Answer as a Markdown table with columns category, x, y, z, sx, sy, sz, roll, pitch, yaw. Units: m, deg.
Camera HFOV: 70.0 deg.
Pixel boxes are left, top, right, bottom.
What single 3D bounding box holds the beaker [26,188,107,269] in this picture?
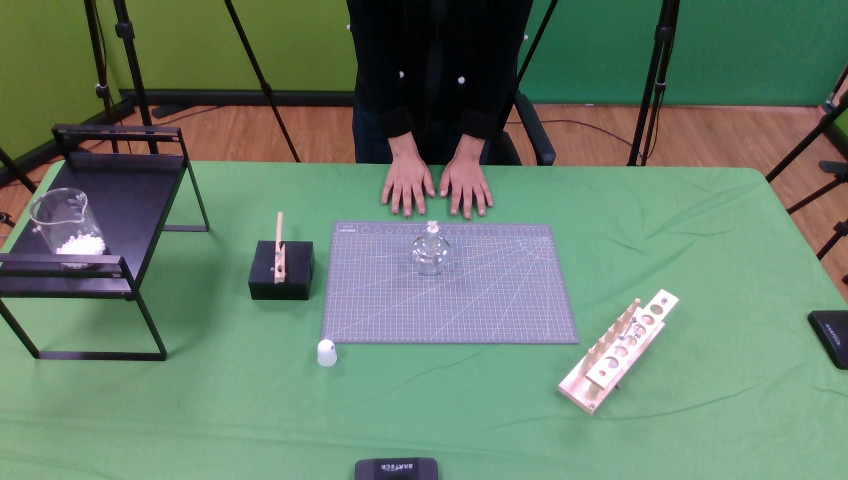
| category | x | y | z | sx | sy | sz | roll | pitch | yaw |
| --- | --- | --- | --- | --- | --- | --- | --- | --- | --- |
| beaker | -0.504 | -0.013 | 0.868 | 0.084 | 0.101 | 0.074 | 23 | 49 | 17 |

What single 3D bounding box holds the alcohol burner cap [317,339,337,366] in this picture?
| category | x | y | z | sx | sy | sz | roll | pitch | yaw |
| --- | --- | --- | --- | --- | --- | --- | --- | --- | --- |
| alcohol burner cap | -0.161 | 0.182 | 0.995 | 0.034 | 0.048 | 0.033 | 2 | 47 | -1 |

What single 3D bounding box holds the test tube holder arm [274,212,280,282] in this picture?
| category | x | y | z | sx | sy | sz | roll | pitch | yaw |
| --- | --- | --- | --- | --- | --- | --- | --- | --- | --- |
| test tube holder arm | -0.267 | 0.008 | 1.103 | 0.013 | 0.015 | 0.177 | 6 | 40 | -20 |

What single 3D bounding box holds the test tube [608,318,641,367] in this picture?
| category | x | y | z | sx | sy | sz | roll | pitch | yaw |
| --- | --- | --- | --- | --- | --- | --- | --- | --- | --- |
| test tube | 0.308 | 0.169 | 0.941 | 0.017 | 0.151 | 0.017 | 1 | 49 | -1 |

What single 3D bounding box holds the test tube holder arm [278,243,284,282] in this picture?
| category | x | y | z | sx | sy | sz | roll | pitch | yaw |
| --- | --- | --- | --- | --- | --- | --- | --- | --- | --- |
| test tube holder arm | -0.253 | 0.039 | 1.072 | 0.010 | 0.015 | 0.087 | 8 | 39 | -19 |

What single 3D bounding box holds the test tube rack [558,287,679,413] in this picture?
| category | x | y | z | sx | sy | sz | roll | pitch | yaw |
| --- | --- | --- | --- | --- | --- | --- | --- | --- | --- |
| test tube rack | 0.326 | 0.170 | 1.009 | 0.066 | 0.085 | 0.242 | 36 | 54 | 27 |

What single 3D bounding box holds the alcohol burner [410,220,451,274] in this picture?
| category | x | y | z | sx | sy | sz | roll | pitch | yaw |
| --- | --- | --- | --- | --- | --- | --- | --- | --- | --- |
| alcohol burner | 0.013 | 0.007 | 1.120 | 0.078 | 0.120 | 0.077 | 1 | 48 | -1 |
